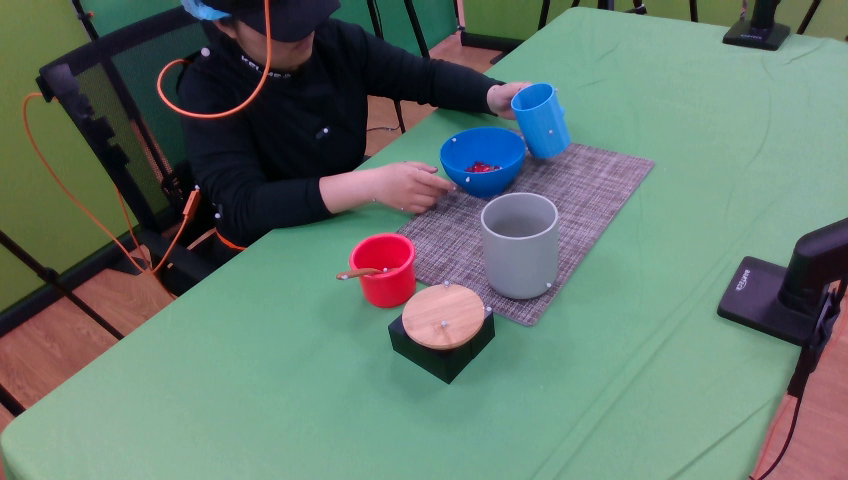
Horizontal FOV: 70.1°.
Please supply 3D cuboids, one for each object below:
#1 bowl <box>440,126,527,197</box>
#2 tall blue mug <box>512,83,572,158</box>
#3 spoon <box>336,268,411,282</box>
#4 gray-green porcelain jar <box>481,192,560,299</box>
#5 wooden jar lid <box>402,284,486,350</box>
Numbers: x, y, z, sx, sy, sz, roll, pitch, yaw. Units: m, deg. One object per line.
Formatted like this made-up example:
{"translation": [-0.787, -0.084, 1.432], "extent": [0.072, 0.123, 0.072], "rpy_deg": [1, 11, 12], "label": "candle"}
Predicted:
{"translation": [0.107, -0.129, 1.070], "extent": [0.151, 0.077, 0.150], "rpy_deg": [-5, 40, 5], "label": "bowl"}
{"translation": [0.200, -0.216, 1.077], "extent": [0.078, 0.109, 0.106], "rpy_deg": [-43, 40, -13], "label": "tall blue mug"}
{"translation": [-0.071, 0.047, 0.850], "extent": [0.041, 0.195, 0.021], "rpy_deg": [18, 93, 24], "label": "spoon"}
{"translation": [0.138, 0.012, 0.858], "extent": [0.106, 0.127, 0.105], "rpy_deg": [-6, 40, 5], "label": "gray-green porcelain jar"}
{"translation": [0.026, 0.101, 0.786], "extent": [0.108, 0.021, 0.108], "rpy_deg": [-5, 39, 4], "label": "wooden jar lid"}
